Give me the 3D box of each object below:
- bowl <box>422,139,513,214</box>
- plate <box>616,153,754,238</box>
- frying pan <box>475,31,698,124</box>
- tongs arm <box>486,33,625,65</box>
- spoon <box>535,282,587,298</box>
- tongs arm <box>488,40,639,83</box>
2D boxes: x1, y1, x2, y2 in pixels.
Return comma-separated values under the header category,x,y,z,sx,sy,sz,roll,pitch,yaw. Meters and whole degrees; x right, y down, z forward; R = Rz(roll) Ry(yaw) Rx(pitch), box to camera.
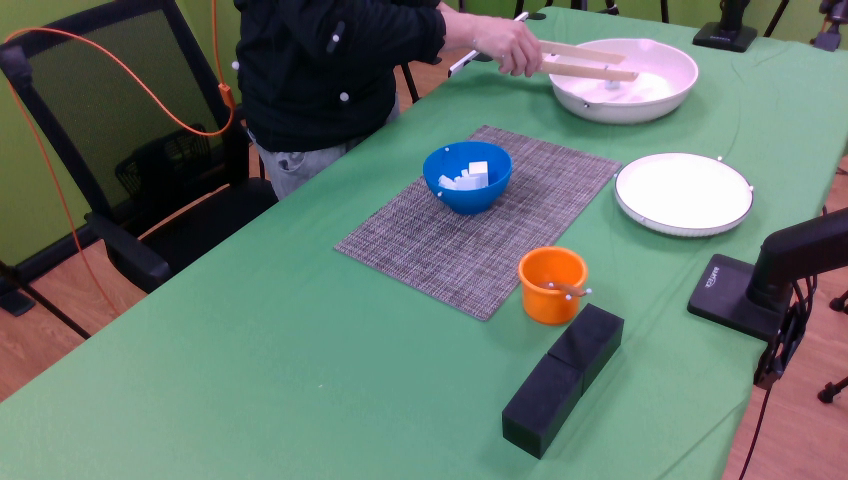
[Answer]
category,x,y,z,sx,sy,sz,roll,pitch,yaw
bowl,0.076,-0.098,1.021,0.151,0.077,0.150,-4,41,4
plate,0.416,-0.069,0.977,0.207,0.039,0.206,-4,40,4
frying pan,0.320,-0.371,1.290,0.485,0.103,0.307,28,50,23
tongs arm,0.264,-0.361,1.162,0.391,0.027,0.028,-6,62,-37
spoon,0.176,0.063,0.774,0.041,0.194,0.021,-3,85,1
tongs arm,0.278,-0.334,1.147,0.388,0.026,0.050,-8,59,-38
